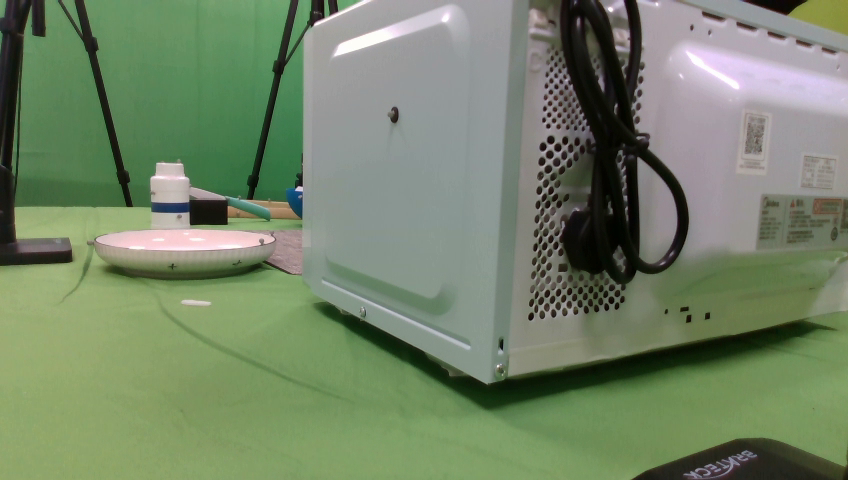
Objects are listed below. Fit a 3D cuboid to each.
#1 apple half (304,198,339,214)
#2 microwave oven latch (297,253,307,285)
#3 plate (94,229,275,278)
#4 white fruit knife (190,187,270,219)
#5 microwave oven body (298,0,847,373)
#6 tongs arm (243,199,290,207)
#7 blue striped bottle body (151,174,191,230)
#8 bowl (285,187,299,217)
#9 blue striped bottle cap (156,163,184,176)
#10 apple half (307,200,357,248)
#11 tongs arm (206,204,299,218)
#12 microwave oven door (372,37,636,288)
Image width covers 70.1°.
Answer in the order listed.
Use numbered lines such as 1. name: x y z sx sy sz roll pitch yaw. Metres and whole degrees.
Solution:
1. apple half: -0.217 -0.073 1.274 0.081 0.033 0.081 2 9 0
2. microwave oven latch: -0.082 0.027 0.582 0.079 0.029 0.030 -1 8 -33
3. plate: -0.291 0.016 0.749 0.208 0.039 0.207 2 7 0
4. white fruit knife: -0.413 -0.081 1.270 0.208 0.027 0.016 17 14 -41
5. microwave oven body: 0.151 -0.055 0.542 0.444 0.260 0.324 -1 8 -33
6. tongs arm: -0.309 -0.078 1.487 0.385 0.026 0.050 3 7 -2
7. blue striped bottle body: -0.439 -0.071 1.052 0.063 0.120 0.063 2 7 0
8. bowl: -0.218 -0.069 1.274 0.151 0.077 0.151 3 8 0
9. blue striped bottle cap: -0.438 -0.122 1.045 0.044 0.020 0.044 5 6 0
10. apple half: -0.136 -0.024 0.942 0.053 0.074 0.081 15 10 38
11. tongs arm: -0.302 -0.065 1.406 0.389 0.028 0.028 1 4 -15
12. microwave oven door: 0.110 -0.080 0.686 0.358 0.243 0.039 -2 9 -33
